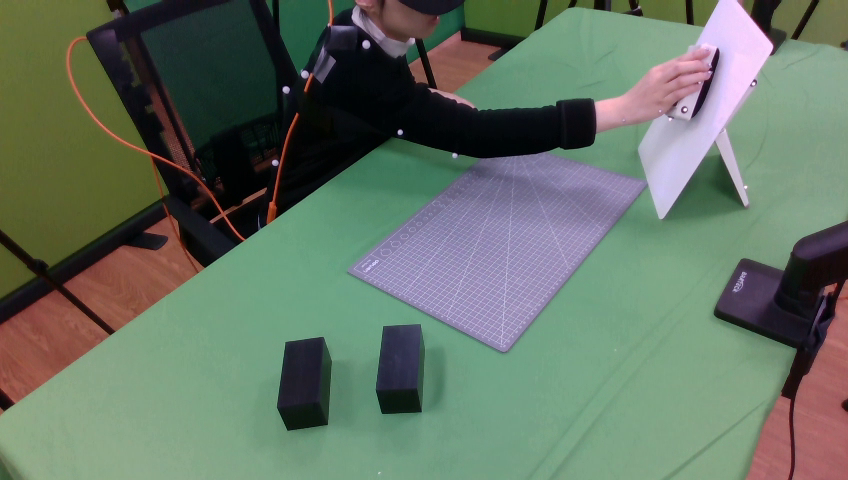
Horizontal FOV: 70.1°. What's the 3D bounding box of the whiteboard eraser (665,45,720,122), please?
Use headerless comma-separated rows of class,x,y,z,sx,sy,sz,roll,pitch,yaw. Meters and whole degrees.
whiteboard eraser,0.410,-0.237,0.922,0.042,0.112,0.055,15,14,-8

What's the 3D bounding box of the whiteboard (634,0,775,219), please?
whiteboard,0.485,-0.193,0.956,0.144,0.305,0.216,14,41,-4
